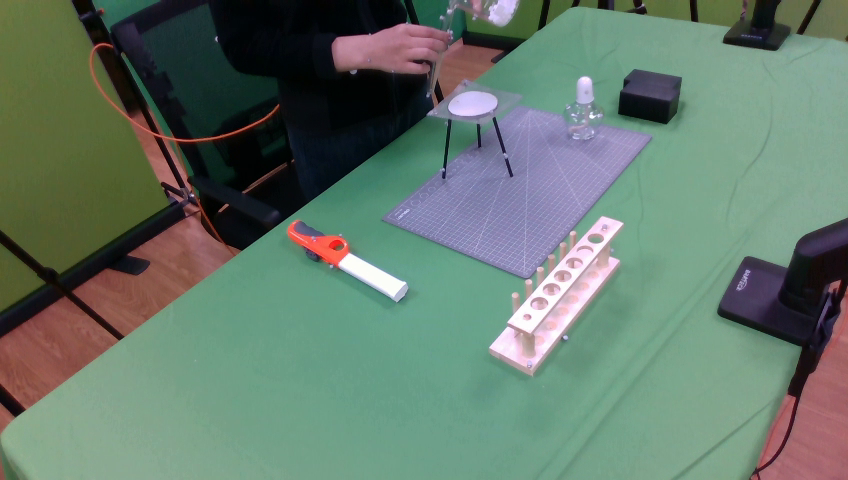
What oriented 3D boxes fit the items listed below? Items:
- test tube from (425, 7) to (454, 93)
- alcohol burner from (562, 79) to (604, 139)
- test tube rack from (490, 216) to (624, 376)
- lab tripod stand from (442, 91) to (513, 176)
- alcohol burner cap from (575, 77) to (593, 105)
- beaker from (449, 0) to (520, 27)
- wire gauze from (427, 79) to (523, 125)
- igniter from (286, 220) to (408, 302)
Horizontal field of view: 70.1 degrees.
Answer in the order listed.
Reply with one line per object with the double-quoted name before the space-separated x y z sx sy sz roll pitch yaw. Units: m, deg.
"test tube" 0.026 -0.322 1.036 0.017 0.150 0.017 11 35 -7
"alcohol burner" 0.303 -0.253 1.147 0.078 0.119 0.077 -4 41 4
"test tube rack" 0.184 0.064 0.822 0.066 0.085 0.243 24 50 33
"lab tripod stand" 0.096 -0.190 1.096 0.148 0.132 0.147 -4 40 4
"alcohol burner cap" 0.297 -0.279 1.124 0.034 0.048 0.033 -8 42 8
"beaker" 0.100 -0.397 0.989 0.101 0.084 0.073 18 30 -17
"wire gauze" 0.088 -0.239 1.050 0.120 0.011 0.125 22 49 30
"igniter" -0.134 0.028 0.969 0.274 0.025 0.057 26 61 35
